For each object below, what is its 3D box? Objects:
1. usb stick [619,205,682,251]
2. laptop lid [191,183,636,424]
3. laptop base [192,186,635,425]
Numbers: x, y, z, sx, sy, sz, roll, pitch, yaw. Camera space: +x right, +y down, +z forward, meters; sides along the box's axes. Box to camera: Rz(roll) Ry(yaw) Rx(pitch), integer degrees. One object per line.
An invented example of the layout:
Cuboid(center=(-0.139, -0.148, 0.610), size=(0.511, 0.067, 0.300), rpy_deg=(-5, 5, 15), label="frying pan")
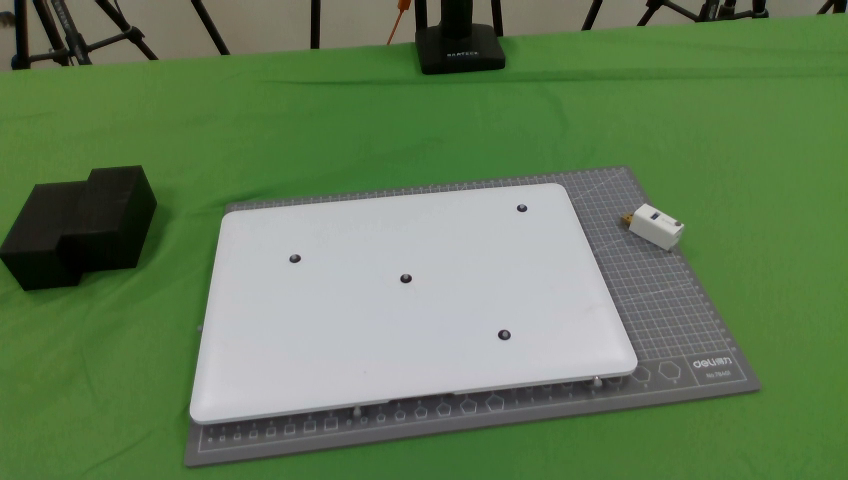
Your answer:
Cuboid(center=(0.223, -0.015, 0.603), size=(0.021, 0.027, 0.058), rpy_deg=(-34, 51, -29), label="usb stick")
Cuboid(center=(-0.016, 0.039, 0.545), size=(0.357, 0.013, 0.239), rpy_deg=(-4, 46, -3), label="laptop lid")
Cuboid(center=(-0.016, 0.046, 0.555), size=(0.355, 0.023, 0.233), rpy_deg=(-6, 48, -5), label="laptop base")
